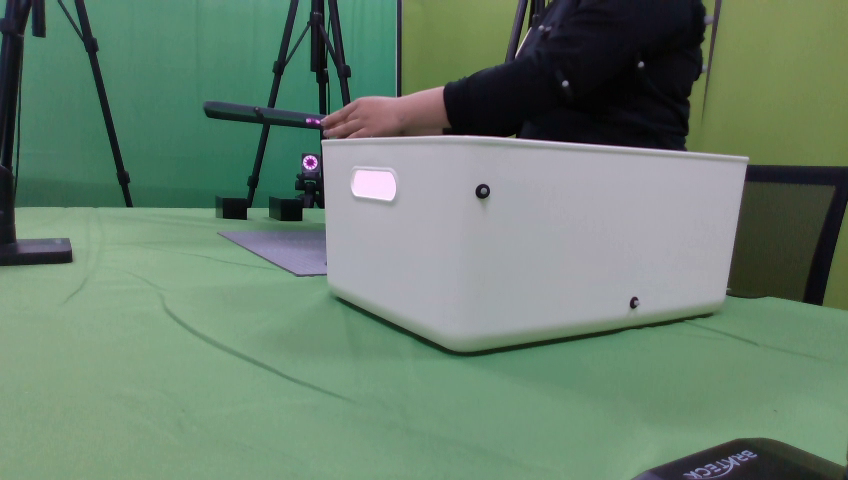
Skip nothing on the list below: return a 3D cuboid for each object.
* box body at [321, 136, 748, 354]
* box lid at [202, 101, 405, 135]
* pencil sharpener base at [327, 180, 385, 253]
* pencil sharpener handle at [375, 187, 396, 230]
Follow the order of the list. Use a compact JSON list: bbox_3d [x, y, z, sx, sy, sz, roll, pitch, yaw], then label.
[{"bbox_3d":[0.105,-0.012,0.604,0.366,0.160,0.253,-2,8,-33],"label":"box body"},{"bbox_3d":[-0.243,-0.237,1.208,0.373,0.015,0.262,3,5,-19],"label":"box lid"},{"bbox_3d":[-0.103,-0.037,0.932,0.077,0.107,0.061,-1,7,-30],"label":"pencil sharpener base"},{"bbox_3d":[-0.058,-0.049,0.957,0.031,0.067,0.036,-1,9,-30],"label":"pencil sharpener handle"}]
